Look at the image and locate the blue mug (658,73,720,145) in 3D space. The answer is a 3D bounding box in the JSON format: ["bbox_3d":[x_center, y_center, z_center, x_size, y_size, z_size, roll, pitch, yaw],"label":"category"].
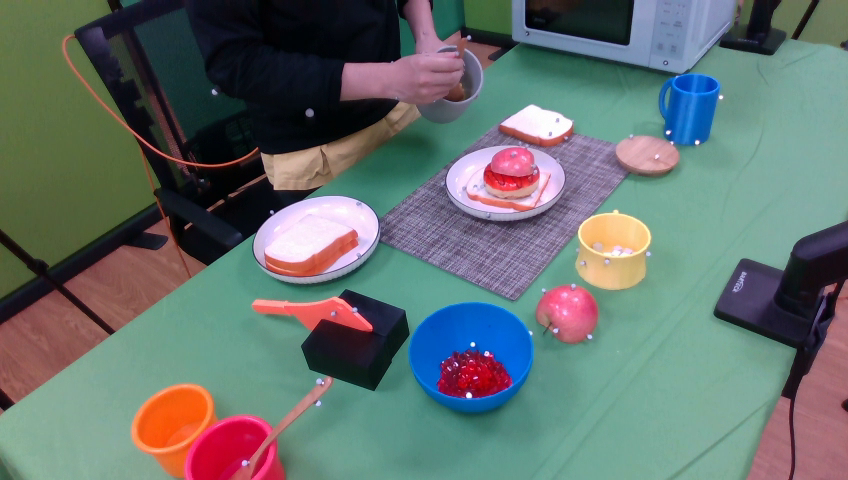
[{"bbox_3d":[0.483,-0.250,1.127,0.082,0.106,0.115,-26,44,-19],"label":"blue mug"}]

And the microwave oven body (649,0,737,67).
[{"bbox_3d":[0.475,-0.602,1.411,0.438,0.261,0.327,23,50,32],"label":"microwave oven body"}]

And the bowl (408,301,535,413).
[{"bbox_3d":[0.059,0.156,0.739,0.151,0.077,0.150,-4,40,4],"label":"bowl"}]

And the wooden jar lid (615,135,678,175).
[{"bbox_3d":[0.398,-0.151,1.086,0.108,0.021,0.108,-2,42,2],"label":"wooden jar lid"}]

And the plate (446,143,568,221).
[{"bbox_3d":[0.142,-0.097,1.045,0.207,0.039,0.206,-4,40,4],"label":"plate"}]

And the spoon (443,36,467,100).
[{"bbox_3d":[0.053,-0.280,1.000,0.042,0.194,0.021,-13,72,-5],"label":"spoon"}]

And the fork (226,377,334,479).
[{"bbox_3d":[-0.163,0.216,0.647,0.207,0.019,0.028,-49,41,16],"label":"fork"}]

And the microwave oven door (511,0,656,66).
[{"bbox_3d":[0.351,-0.540,1.349,0.353,0.245,0.039,24,50,31],"label":"microwave oven door"}]

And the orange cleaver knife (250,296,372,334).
[{"bbox_3d":[-0.158,0.103,0.828,0.210,0.078,0.012,-4,43,39],"label":"orange cleaver knife"}]

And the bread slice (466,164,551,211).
[{"bbox_3d":[0.141,-0.092,1.042,0.133,0.018,0.107,10,43,19],"label":"bread slice"}]

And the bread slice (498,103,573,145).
[{"bbox_3d":[0.231,-0.232,1.205,0.105,0.019,0.130,-36,48,-29],"label":"bread slice"}]

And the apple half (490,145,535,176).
[{"bbox_3d":[0.147,-0.138,0.994,0.081,0.033,0.081,1,37,0],"label":"apple half"}]

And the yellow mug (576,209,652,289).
[{"bbox_3d":[0.279,0.004,0.893,0.099,0.064,0.130,5,41,14],"label":"yellow mug"}]

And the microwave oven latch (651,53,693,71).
[{"bbox_3d":[0.532,-0.386,1.301,0.078,0.029,0.030,27,52,34],"label":"microwave oven latch"}]

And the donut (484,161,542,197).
[{"bbox_3d":[0.149,-0.109,1.016,0.099,0.048,0.098,-4,40,4],"label":"donut"}]

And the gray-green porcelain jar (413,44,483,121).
[{"bbox_3d":[0.039,-0.280,1.099,0.106,0.105,0.126,-20,-2,-14],"label":"gray-green porcelain jar"}]

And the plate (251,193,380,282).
[{"bbox_3d":[-0.174,-0.001,0.984,0.209,0.038,0.208,-4,41,4],"label":"plate"}]

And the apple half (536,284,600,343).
[{"bbox_3d":[0.196,0.091,0.815,0.075,0.053,0.080,-22,42,-20],"label":"apple half"}]
